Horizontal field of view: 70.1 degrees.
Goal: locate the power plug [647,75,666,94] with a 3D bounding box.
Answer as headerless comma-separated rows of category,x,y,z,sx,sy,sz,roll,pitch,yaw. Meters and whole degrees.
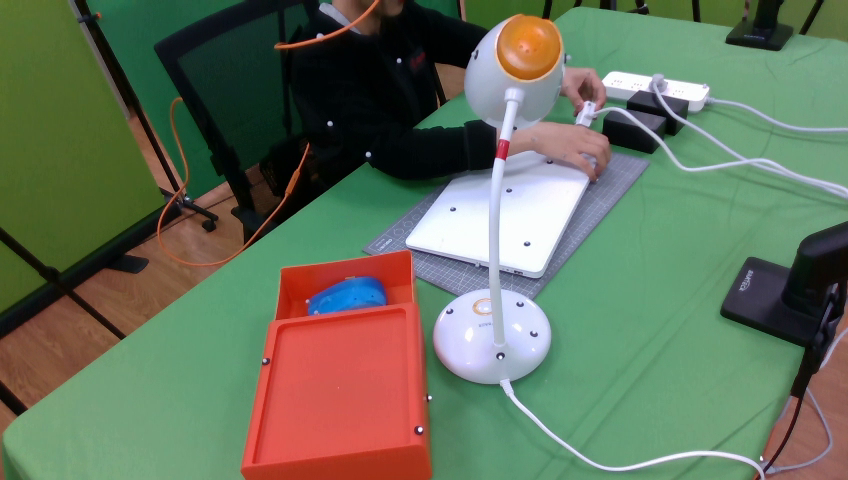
power plug,0.457,-0.301,1.212,0.073,0.053,0.035,-36,47,-27

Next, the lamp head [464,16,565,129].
lamp head,0.101,-0.184,0.655,0.112,0.112,0.123,-9,1,0

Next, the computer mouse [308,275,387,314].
computer mouse,-0.113,0.089,0.881,0.117,0.041,0.062,-16,42,-1

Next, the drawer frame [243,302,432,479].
drawer frame,-0.096,0.185,0.738,0.202,0.083,0.212,-8,40,1

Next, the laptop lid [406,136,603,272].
laptop lid,0.147,-0.081,1.039,0.240,0.013,0.357,13,44,28

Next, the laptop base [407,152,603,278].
laptop base,0.151,-0.071,1.045,0.234,0.023,0.354,11,44,27

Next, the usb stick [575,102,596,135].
usb stick,0.299,-0.226,1.131,0.021,0.059,0.027,17,5,-13

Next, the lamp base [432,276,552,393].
lamp base,0.085,0.075,0.756,0.161,0.181,0.178,-14,44,-5

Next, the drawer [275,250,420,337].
drawer,-0.104,0.117,0.825,0.194,0.073,0.210,-8,40,1

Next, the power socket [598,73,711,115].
power socket,0.470,-0.303,1.248,0.225,0.033,0.072,20,49,30

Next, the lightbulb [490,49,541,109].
lightbulb,0.105,-0.185,0.680,0.059,0.108,0.059,0,86,3
